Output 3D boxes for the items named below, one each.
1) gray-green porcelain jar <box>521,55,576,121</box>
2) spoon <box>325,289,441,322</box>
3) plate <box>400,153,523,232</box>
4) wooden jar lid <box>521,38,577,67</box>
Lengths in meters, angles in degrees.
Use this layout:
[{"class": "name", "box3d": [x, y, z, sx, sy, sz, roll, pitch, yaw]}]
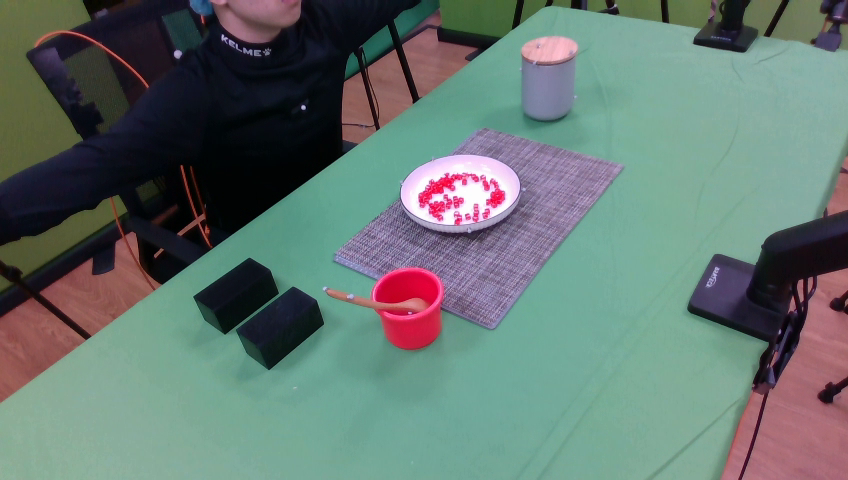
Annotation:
[{"class": "gray-green porcelain jar", "box3d": [0.249, -0.313, 1.219, 0.106, 0.127, 0.105, -4, 41, 4]}, {"class": "spoon", "box3d": [-0.047, 0.084, 0.776, 0.195, 0.021, 0.041, 12, 27, -42]}, {"class": "plate", "box3d": [0.065, -0.078, 1.034, 0.207, 0.039, 0.206, -4, 41, 4]}, {"class": "wooden jar lid", "box3d": [0.243, -0.362, 1.177, 0.108, 0.021, 0.108, -5, 43, 5]}]
